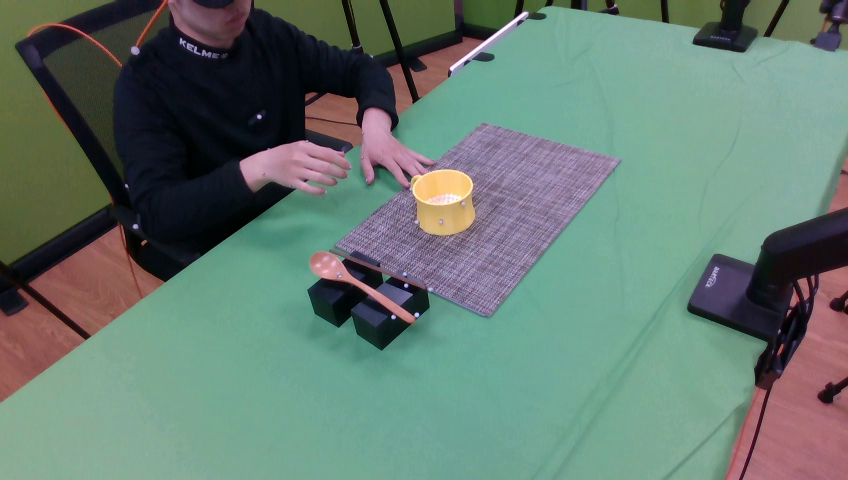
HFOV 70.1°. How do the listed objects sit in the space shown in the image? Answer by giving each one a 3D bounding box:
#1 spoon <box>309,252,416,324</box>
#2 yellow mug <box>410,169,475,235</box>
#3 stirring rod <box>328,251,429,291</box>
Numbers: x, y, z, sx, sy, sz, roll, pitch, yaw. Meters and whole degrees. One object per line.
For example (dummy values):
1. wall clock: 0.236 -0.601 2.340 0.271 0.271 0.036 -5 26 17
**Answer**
1. spoon: -0.087 0.066 0.830 0.192 0.022 0.042 27 53 32
2. yellow mug: 0.022 -0.070 1.007 0.129 0.064 0.100 29 52 36
3. stirring rod: -0.068 0.042 0.860 0.175 0.006 0.014 18 13 28
